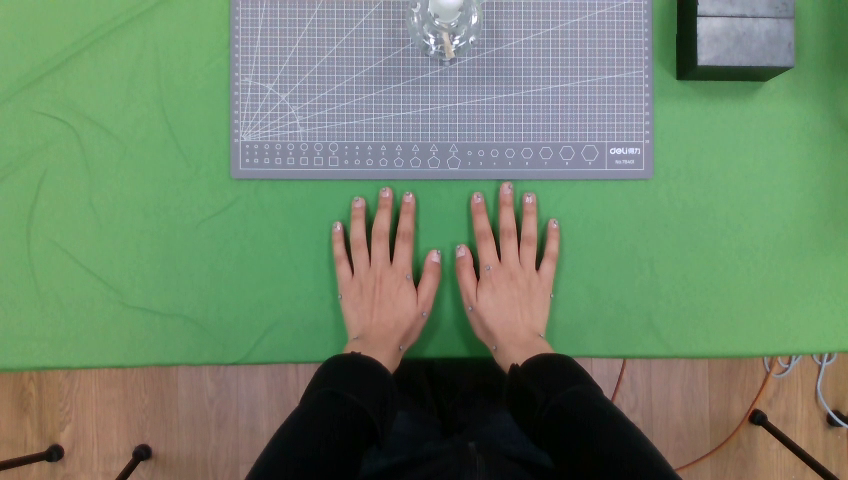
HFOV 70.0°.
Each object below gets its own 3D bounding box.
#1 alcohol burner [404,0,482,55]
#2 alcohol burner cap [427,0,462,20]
[{"bbox_3d":[0.020,-0.226,0.592,0.078,0.119,0.078,0,89,-3],"label":"alcohol burner"},{"bbox_3d":[0.021,-0.225,0.558,0.034,0.048,0.034,0,93,-4],"label":"alcohol burner cap"}]
